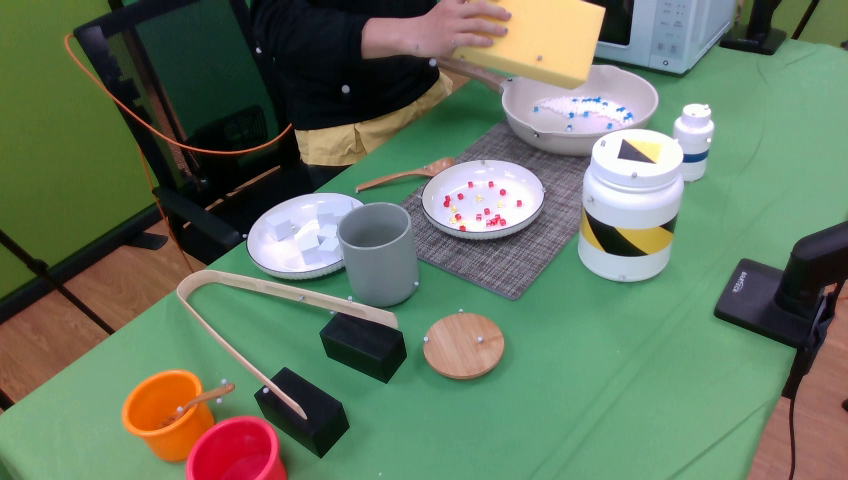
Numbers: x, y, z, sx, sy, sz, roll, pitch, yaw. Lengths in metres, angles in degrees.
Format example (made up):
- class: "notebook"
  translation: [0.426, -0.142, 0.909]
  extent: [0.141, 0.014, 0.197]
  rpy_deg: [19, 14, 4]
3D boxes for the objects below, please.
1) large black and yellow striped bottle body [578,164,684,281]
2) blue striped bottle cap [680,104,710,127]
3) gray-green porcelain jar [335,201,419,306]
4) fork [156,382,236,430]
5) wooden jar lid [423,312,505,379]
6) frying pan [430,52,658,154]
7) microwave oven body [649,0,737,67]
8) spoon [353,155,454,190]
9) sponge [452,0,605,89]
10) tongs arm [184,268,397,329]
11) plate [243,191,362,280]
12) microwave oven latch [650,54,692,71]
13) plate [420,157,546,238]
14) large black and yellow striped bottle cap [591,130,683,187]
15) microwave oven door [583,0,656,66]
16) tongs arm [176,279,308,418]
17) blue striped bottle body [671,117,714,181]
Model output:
- class: "large black and yellow striped bottle body"
  translation: [0.292, -0.046, 0.859]
  extent: [0.131, 0.185, 0.130]
  rpy_deg: [-4, 41, 4]
- class: "blue striped bottle cap"
  translation: [0.443, -0.205, 0.989]
  extent: [0.044, 0.021, 0.044]
  rpy_deg: [-1, 41, 2]
- class: "gray-green porcelain jar"
  translation: [-0.064, 0.024, 0.872]
  extent: [0.106, 0.127, 0.105]
  rpy_deg: [-4, 41, 4]
- class: "fork"
  translation: [-0.262, 0.189, 0.690]
  extent: [0.018, 0.206, 0.028]
  rpy_deg: [49, 43, -7]
- class: "wooden jar lid"
  translation: [0.053, 0.142, 0.800]
  extent: [0.108, 0.021, 0.108]
  rpy_deg: [-5, 39, 4]
- class: "frying pan"
  translation: [0.216, -0.302, 1.224]
  extent: [0.484, 0.103, 0.308]
  rpy_deg: [29, 49, 24]
- class: "microwave oven body"
  translation: [0.475, -0.602, 1.411]
  extent: [0.438, 0.261, 0.327]
  rpy_deg: [23, 50, 32]
- class: "spoon"
  translation: [-0.038, -0.123, 1.116]
  extent: [0.194, 0.022, 0.041]
  rpy_deg: [-12, 59, -4]
- class: "sponge"
  translation: [0.160, -0.322, 0.932]
  extent: [0.207, 0.118, 0.061]
  rpy_deg: [13, 0, -8]
- class: "tongs arm"
  translation: [-0.202, 0.084, 0.848]
  extent: [0.382, 0.027, 0.051]
  rpy_deg: [11, 45, 35]
- class: "plate"
  translation: [-0.187, -0.005, 0.992]
  extent: [0.207, 0.039, 0.206]
  rpy_deg: [-4, 41, 4]
- class: "microwave oven latch"
  translation: [0.531, -0.386, 1.301]
  extent: [0.078, 0.029, 0.030]
  rpy_deg: [25, 51, 32]
- class: "plate"
  translation: [0.099, -0.067, 1.017]
  extent: [0.209, 0.038, 0.208]
  rpy_deg: [-4, 40, 4]
- class: "large black and yellow striped bottle cap"
  translation: [0.282, -0.111, 0.803]
  extent: [0.115, 0.019, 0.114]
  rpy_deg: [-3, 41, 3]
- class: "microwave oven door"
  translation: [0.351, -0.539, 1.349]
  extent: [0.353, 0.245, 0.039]
  rpy_deg: [24, 50, 31]
- class: "tongs arm"
  translation: [-0.255, 0.132, 0.801]
  extent: [0.028, 0.028, 0.384]
  rpy_deg: [-41, 40, -23]
- class: "blue striped bottle body"
  translation: [0.449, -0.165, 1.022]
  extent: [0.063, 0.121, 0.063]
  rpy_deg: [-5, 41, 4]
